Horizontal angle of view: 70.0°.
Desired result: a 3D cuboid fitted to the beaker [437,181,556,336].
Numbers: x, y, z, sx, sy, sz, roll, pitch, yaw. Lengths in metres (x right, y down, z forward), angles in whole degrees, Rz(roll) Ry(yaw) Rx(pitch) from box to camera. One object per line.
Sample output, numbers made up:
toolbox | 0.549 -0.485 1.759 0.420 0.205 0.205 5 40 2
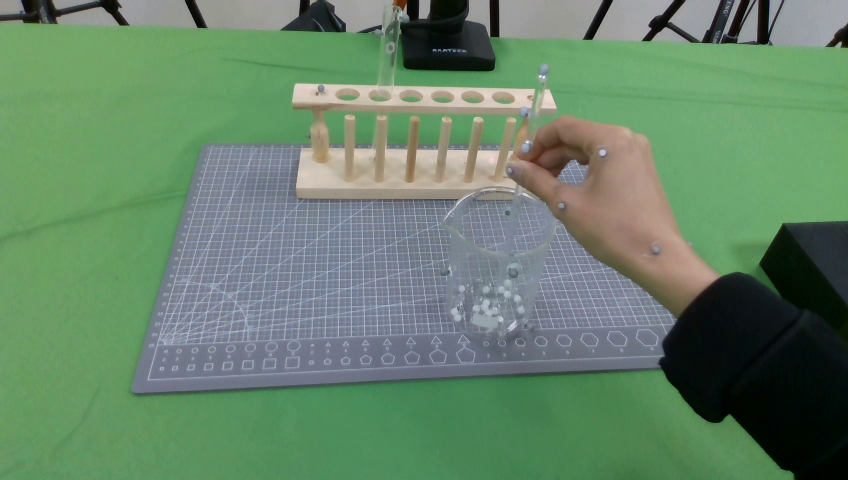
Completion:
beaker | 0.049 0.018 0.456 0.084 0.101 0.073 1 44 -3

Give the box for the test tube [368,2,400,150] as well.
test tube | -0.038 -0.142 0.552 0.017 0.151 0.017 6 45 -6

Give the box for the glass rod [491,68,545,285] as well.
glass rod | 0.064 -0.033 0.434 0.008 0.201 0.008 2 47 -2

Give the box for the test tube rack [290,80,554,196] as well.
test tube rack | -0.002 -0.096 0.580 0.243 0.086 0.066 0 44 -6
